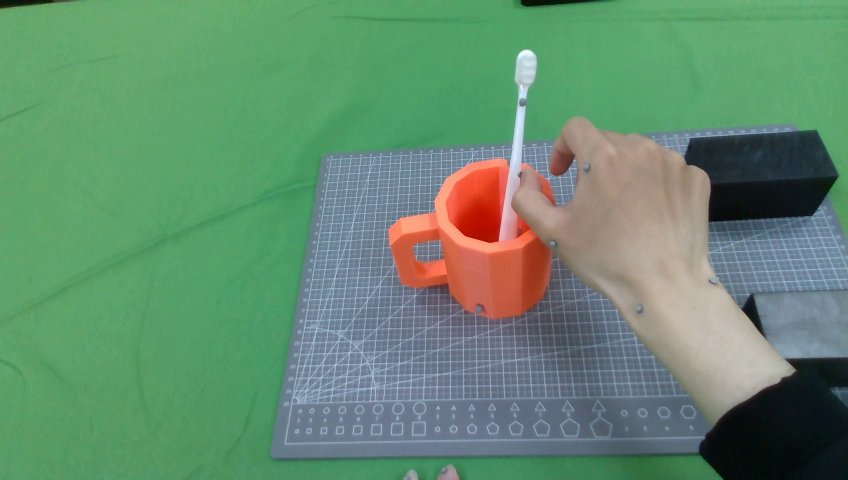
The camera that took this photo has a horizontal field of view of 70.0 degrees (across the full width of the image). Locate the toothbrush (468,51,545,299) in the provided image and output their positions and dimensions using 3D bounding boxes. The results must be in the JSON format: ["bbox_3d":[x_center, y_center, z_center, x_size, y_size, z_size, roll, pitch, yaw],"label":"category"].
[{"bbox_3d":[0.057,-0.041,0.434,0.016,0.182,0.014,24,18,38],"label":"toothbrush"}]

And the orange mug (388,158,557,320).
[{"bbox_3d":[0.038,0.003,0.466,0.126,0.102,0.082,-7,54,-2],"label":"orange mug"}]
